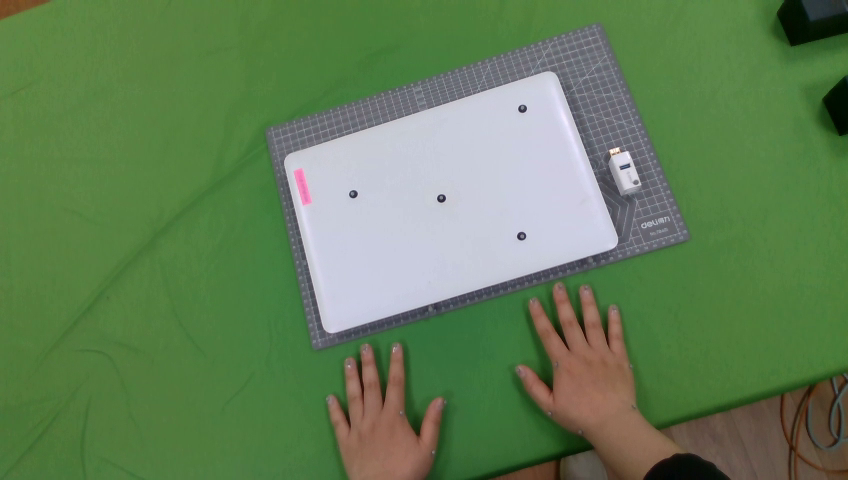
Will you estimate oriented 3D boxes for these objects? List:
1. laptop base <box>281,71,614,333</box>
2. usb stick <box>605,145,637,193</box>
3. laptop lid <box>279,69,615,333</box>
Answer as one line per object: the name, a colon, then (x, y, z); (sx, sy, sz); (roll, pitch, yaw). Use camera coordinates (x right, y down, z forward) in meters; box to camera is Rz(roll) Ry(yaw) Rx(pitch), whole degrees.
laptop base: (0.019, -0.049, 0.725); (0.354, 0.023, 0.234); (-18, 77, 3)
usb stick: (0.225, -0.086, 0.700); (0.021, 0.027, 0.059); (-18, 71, 7)
laptop lid: (0.018, -0.050, 0.713); (0.357, 0.013, 0.240); (-16, 76, 3)
